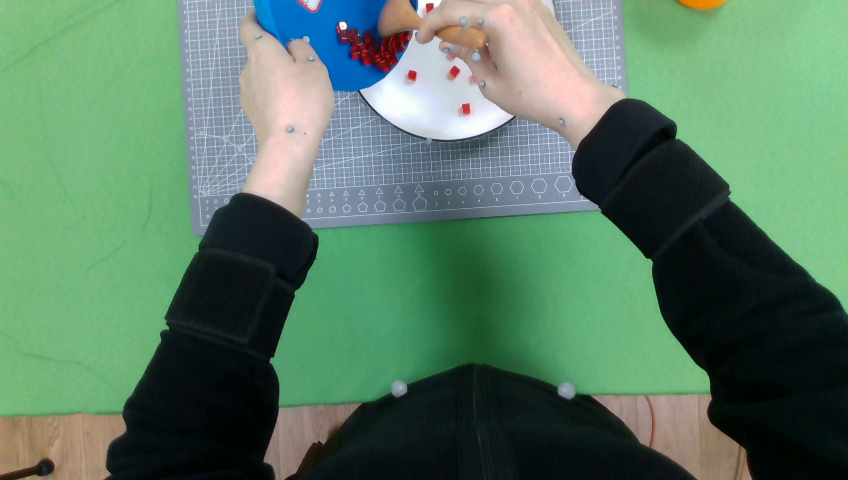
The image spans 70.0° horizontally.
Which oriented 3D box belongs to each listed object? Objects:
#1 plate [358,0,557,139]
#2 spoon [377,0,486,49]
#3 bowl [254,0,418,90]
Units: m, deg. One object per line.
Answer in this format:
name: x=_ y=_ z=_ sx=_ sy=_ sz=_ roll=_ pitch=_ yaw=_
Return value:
plate: x=0.025 y=-0.202 z=0.596 sx=0.209 sy=0.038 sz=0.209 roll=0 pitch=90 yaw=3
spoon: x=0.002 y=-0.164 z=0.456 sx=0.022 sy=0.191 sz=0.041 roll=21 pitch=103 yaw=-35
bowl: x=-0.085 y=-0.207 z=0.502 sx=0.076 sy=0.153 sz=0.151 roll=23 pitch=91 yaw=41
